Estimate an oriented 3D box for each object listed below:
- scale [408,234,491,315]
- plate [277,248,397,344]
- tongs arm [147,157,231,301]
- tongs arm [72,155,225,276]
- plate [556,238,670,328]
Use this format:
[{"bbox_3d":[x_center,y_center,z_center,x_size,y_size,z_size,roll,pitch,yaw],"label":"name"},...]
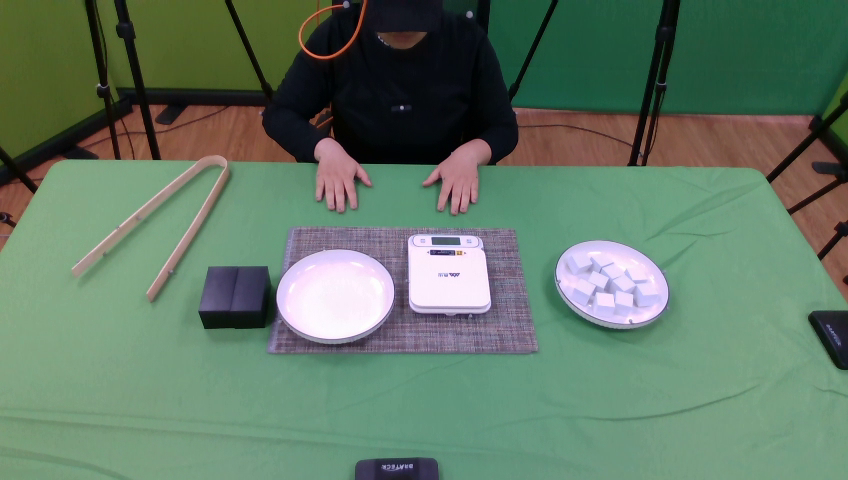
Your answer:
[{"bbox_3d":[0.045,0.055,1.135,0.149,0.032,0.199,1,46,-3],"label":"scale"},{"bbox_3d":[-0.152,0.101,1.073,0.208,0.039,0.206,2,46,-2],"label":"plate"},{"bbox_3d":[-0.453,-0.035,1.193,0.028,0.028,0.385,6,46,6],"label":"tongs arm"},{"bbox_3d":[-0.531,-0.058,1.204,0.050,0.026,0.383,18,47,13],"label":"tongs arm"},{"bbox_3d":[0.347,0.083,1.130,0.209,0.038,0.208,2,47,-2],"label":"plate"}]
